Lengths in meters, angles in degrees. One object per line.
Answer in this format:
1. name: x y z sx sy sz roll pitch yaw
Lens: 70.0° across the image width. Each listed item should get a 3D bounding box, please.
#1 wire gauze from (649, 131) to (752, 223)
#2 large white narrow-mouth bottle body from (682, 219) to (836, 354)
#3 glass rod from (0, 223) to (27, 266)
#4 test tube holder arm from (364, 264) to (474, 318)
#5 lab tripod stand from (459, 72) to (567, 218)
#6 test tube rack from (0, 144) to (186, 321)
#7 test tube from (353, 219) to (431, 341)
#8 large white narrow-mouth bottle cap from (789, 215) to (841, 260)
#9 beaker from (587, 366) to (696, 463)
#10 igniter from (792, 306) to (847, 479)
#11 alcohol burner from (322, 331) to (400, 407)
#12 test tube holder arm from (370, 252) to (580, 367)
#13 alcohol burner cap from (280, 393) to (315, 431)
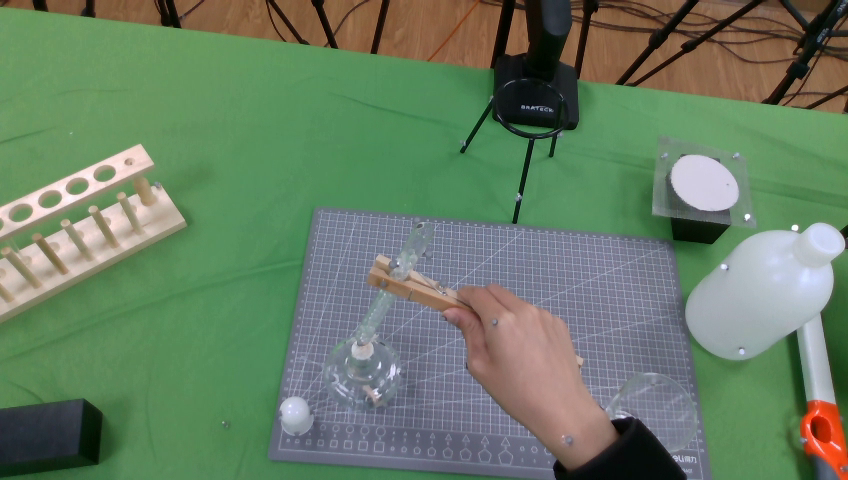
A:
1. wire gauze: 0.341 -0.078 0.753 0.121 0.011 0.124 12 59 1
2. large white narrow-mouth bottle body: 0.355 0.042 0.634 0.102 0.196 0.101 2 59 -3
3. glass rod: -0.426 -0.034 0.586 0.008 0.201 0.008 4 50 -5
4. test tube holder arm: -0.004 0.040 0.470 0.088 0.015 0.010 19 45 -3
5. lab tripod stand: 0.115 -0.122 0.740 0.148 0.132 0.147 3 61 -5
6. test tube rack: -0.393 -0.003 0.648 0.242 0.086 0.066 -32 68 -21
7. test tube: -0.029 0.037 0.482 0.017 0.151 0.017 16 44 -16
8. large white narrow-mouth bottle cap: 0.361 -0.002 0.562 0.038 0.024 0.037 2 60 -4
9. beaker: 0.205 0.175 0.595 0.084 0.101 0.073 2 59 -3
10. igniter: 0.430 0.181 0.659 0.057 0.025 0.274 16 59 -8
11. alcohol burner: -0.061 0.120 0.592 0.078 0.120 0.077 4 59 -6
12. test tube holder arm: 0.039 0.054 0.473 0.178 0.015 0.013 25 45 2
13. alcohol burner cap: -0.127 0.168 0.598 0.034 0.048 0.033 2 61 -3
